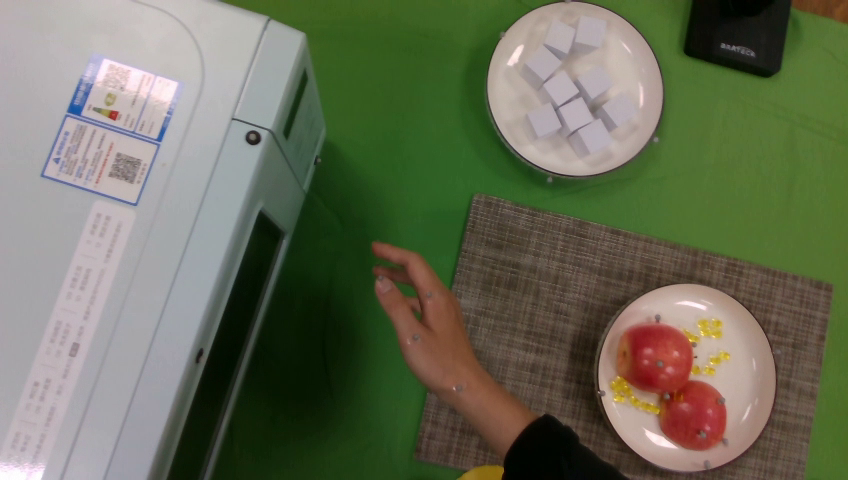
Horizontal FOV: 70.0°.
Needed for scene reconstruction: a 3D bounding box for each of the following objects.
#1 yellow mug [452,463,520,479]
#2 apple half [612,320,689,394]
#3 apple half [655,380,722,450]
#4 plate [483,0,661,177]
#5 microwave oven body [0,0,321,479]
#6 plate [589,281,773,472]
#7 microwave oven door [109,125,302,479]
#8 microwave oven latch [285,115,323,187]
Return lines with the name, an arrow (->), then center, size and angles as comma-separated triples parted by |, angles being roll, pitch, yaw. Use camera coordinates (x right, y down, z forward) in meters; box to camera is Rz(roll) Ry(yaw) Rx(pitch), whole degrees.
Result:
yellow mug -> 0.063, 0.307, 0.630 | 0.100, 0.064, 0.130 | 26, 86, -4
apple half -> 0.251, 0.128, 0.662 | 0.075, 0.053, 0.080 | 12, 84, -2
apple half -> 0.297, 0.194, 0.670 | 0.081, 0.033, 0.081 | 1, 81, -6
plate -> 0.168, -0.172, 0.703 | 0.208, 0.039, 0.207 | 1, 84, -6
microwave oven body -> -0.314, 0.016, 0.517 | 0.326, 0.260, 0.440 | 17, 83, -4
plate -> 0.283, 0.150, 0.679 | 0.209, 0.038, 0.208 | 1, 85, -6
microwave oven door -> -0.187, 0.099, 0.518 | 0.039, 0.244, 0.355 | 17, 83, -3
microwave oven latch -> -0.131, -0.098, 0.645 | 0.030, 0.029, 0.079 | 20, 83, -4
